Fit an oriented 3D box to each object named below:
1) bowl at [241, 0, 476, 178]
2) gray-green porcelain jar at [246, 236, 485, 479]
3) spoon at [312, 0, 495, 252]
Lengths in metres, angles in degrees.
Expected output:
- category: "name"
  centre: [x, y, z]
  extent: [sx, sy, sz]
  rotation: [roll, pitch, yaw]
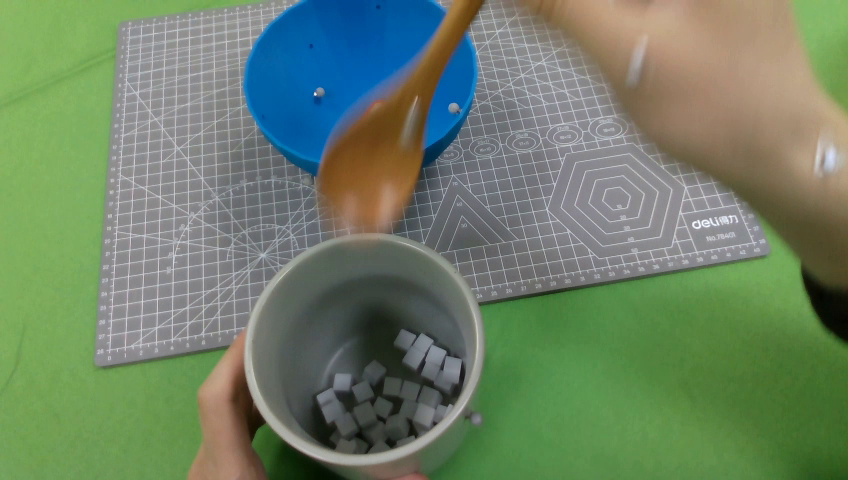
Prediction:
- category: "bowl"
  centre: [-0.040, -0.092, 0.421]
  extent: [0.151, 0.077, 0.150]
  rotation: [-1, 64, 2]
- category: "gray-green porcelain jar"
  centre: [-0.023, 0.071, 0.319]
  extent: [0.106, 0.127, 0.105]
  rotation: [-1, 64, 2]
- category: "spoon"
  centre: [0.005, -0.061, 0.205]
  extent: [0.042, 0.194, 0.021]
  rotation: [18, 46, -17]
